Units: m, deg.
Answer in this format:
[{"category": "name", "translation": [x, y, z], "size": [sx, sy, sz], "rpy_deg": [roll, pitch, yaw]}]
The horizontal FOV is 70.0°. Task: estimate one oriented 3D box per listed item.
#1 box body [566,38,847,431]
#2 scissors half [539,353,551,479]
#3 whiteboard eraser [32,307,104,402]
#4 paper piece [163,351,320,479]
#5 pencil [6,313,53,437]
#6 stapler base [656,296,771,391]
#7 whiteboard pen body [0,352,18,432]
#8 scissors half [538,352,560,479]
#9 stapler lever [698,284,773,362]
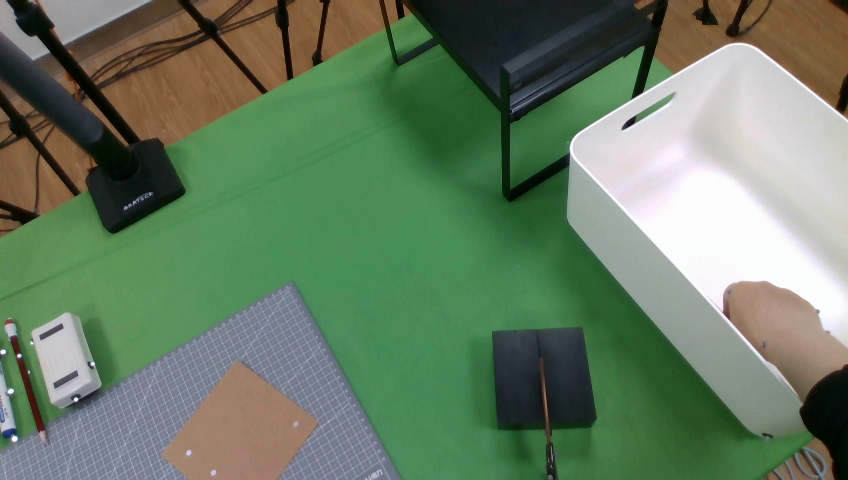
[{"category": "box body", "translation": [0.355, -0.008, 0.661], "size": [0.254, 0.162, 0.360], "rpy_deg": [-32, 64, -8]}, {"category": "scissors half", "translation": [0.129, 0.206, 0.632], "size": [0.013, 0.040, 0.174], "rpy_deg": [-5, 83, 3]}, {"category": "whiteboard eraser", "translation": [-0.444, 0.143, 0.758], "size": [0.055, 0.042, 0.111], "rpy_deg": [-32, 65, -8]}, {"category": "paper piece", "translation": [-0.214, 0.222, 0.705], "size": [0.137, 0.009, 0.136], "rpy_deg": [32, 76, 18]}, {"category": "pencil", "translation": [-0.501, 0.169, 0.769], "size": [0.012, 0.012, 0.192], "rpy_deg": [-34, 65, -9]}, {"category": "stapler base", "translation": [0.323, 0.108, 0.676], "size": [0.041, 0.024, 0.129], "rpy_deg": [-36, 60, -17]}, {"category": "whiteboard pen body", "translation": [-0.536, 0.179, 0.765], "size": [0.017, 0.017, 0.139], "rpy_deg": [-30, 63, -8]}, {"category": "scissors half", "translation": [0.126, 0.200, 0.613], "size": [0.013, 0.040, 0.174], "rpy_deg": [-7, 66, 8]}, {"category": "stapler lever", "translation": [0.322, 0.093, 0.654], "size": [0.027, 0.040, 0.117], "rpy_deg": [-36, 61, -17]}]
